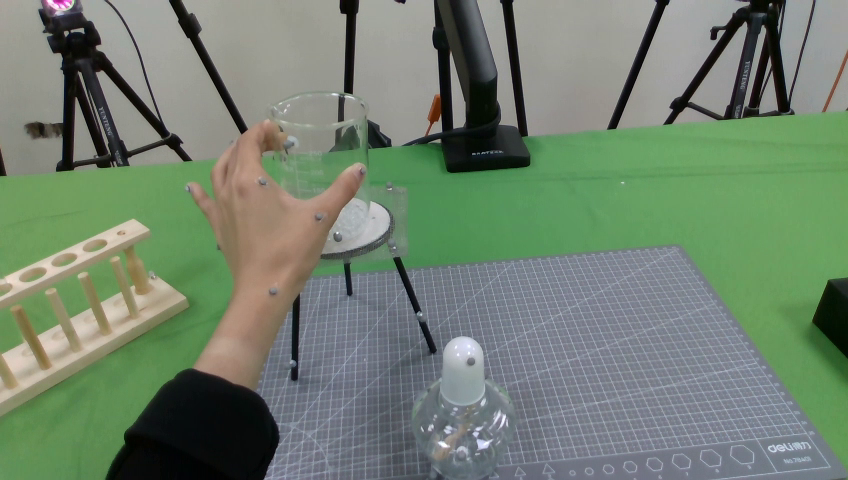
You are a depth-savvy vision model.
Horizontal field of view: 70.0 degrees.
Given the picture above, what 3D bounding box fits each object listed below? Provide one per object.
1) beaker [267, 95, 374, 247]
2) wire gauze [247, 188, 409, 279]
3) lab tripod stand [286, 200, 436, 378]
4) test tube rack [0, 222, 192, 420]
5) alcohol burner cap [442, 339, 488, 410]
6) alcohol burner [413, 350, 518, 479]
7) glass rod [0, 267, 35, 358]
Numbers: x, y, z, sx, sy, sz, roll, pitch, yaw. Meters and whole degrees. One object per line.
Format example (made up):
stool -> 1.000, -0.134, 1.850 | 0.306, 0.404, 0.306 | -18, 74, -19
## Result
beaker -> -0.079, -0.053, 0.466 | 0.083, 0.101, 0.074 | 18, 35, 27
wire gauze -> -0.073, -0.012, 0.499 | 0.121, 0.011, 0.124 | -2, 35, -1
lab tripod stand -> -0.061, 0.042, 0.539 | 0.148, 0.132, 0.147 | -1, 33, 1
test tube rack -> -0.348, 0.080, 0.554 | 0.066, 0.086, 0.242 | 24, 43, 35
alcohol burner cap -> 0.028, 0.089, 0.414 | 0.034, 0.048, 0.033 | 0, 36, 0
alcohol burner -> 0.030, 0.119, 0.435 | 0.078, 0.120, 0.077 | -1, 37, 1
glass rod -> -0.374, 0.021, 0.526 | 0.008, 0.201, 0.008 | -2, 27, 1
